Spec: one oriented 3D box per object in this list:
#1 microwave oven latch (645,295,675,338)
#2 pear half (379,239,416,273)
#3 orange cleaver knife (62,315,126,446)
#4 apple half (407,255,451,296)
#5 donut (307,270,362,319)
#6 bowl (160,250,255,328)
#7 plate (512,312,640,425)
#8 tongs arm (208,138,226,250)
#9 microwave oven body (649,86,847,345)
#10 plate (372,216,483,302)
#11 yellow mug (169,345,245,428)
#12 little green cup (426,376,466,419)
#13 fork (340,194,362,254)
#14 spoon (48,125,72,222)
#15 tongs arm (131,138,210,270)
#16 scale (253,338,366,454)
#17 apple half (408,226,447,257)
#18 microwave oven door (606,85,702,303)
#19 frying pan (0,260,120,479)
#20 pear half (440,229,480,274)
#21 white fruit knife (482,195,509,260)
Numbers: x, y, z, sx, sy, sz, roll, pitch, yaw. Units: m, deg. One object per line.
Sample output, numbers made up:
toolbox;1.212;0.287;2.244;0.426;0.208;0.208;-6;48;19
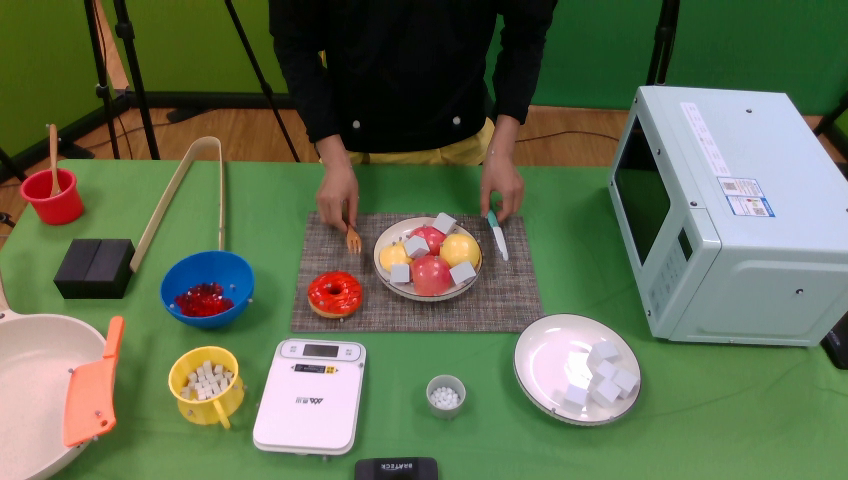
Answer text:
microwave oven latch;0.411;0.134;1.061;0.030;0.029;0.078;3;45;0
pear half;-0.048;0.024;1.147;0.070;0.031;0.087;12;48;-11
orange cleaver knife;-0.480;0.199;0.887;0.077;0.012;0.210;-8;47;-8
apple half;0.011;0.058;1.103;0.075;0.053;0.080;-6;43;-13
donut;-0.158;0.097;1.073;0.099;0.048;0.098;4;45;-4
bowl;-0.362;0.098;1.040;0.151;0.077;0.150;2;45;-2
plate;0.246;0.213;0.999;0.208;0.039;0.206;2;46;-2
tongs arm;-0.430;-0.090;1.245;0.051;0.026;0.382;-7;46;-7
microwave oven body;0.567;-0.053;1.118;0.326;0.261;0.439;2;45;-1
plate;0.006;0.038;1.145;0.209;0.038;0.208;2;46;-2
yellow mug;-0.322;0.230;0.922;0.100;0.064;0.130;-24;53;-25
little green cup;0.033;0.248;0.950;0.061;0.039;0.061;2;46;-2
fork;-0.148;-0.035;1.198;0.028;0.019;0.206;-2;33;-15
spoon;-0.718;-0.131;1.189;0.041;0.021;0.193;-3;91;-6
tongs arm;-0.514;-0.087;1.237;0.028;0.028;0.385;1;45;5
scale;-0.175;0.236;0.951;0.149;0.032;0.199;4;45;-1
apple half;0.009;-0.006;1.176;0.081;0.033;0.081;1;52;-2
microwave oven door;0.422;-0.094;1.140;0.039;0.245;0.353;2;46;-1
frying pan;-0.647;0.164;0.936;0.307;0.103;0.485;-19;58;-22
pear half;0.065;0.007;1.150;0.076;0.056;0.109;-10;43;-3
white fruit knife;0.143;-0.029;1.209;0.027;0.016;0.206;21;33;-24
